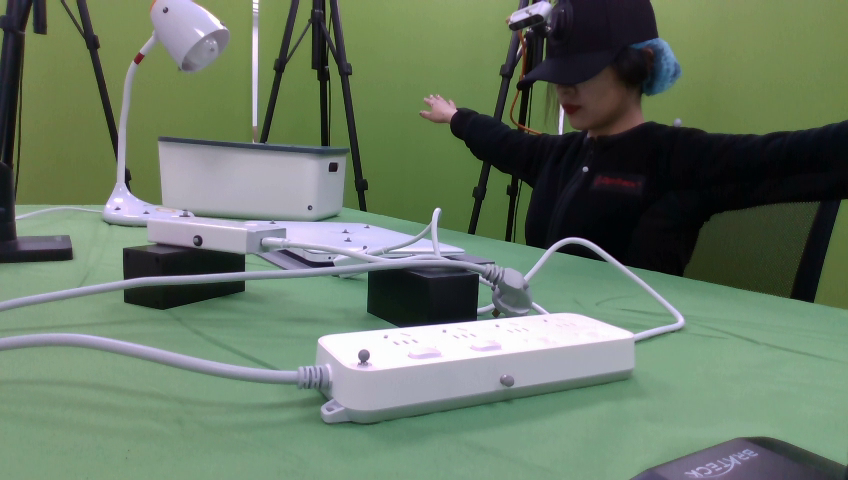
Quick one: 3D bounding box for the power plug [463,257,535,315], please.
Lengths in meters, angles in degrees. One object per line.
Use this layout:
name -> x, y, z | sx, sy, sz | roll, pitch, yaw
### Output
power plug -> 0.064, 0.039, 0.530 | 0.072, 0.052, 0.035 | 31, 43, 7

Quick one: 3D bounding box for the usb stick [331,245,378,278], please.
usb stick -> -0.085, 0.026, 0.702 | 0.059, 0.027, 0.021 | -17, 20, 27

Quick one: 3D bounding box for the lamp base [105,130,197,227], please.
lamp base -> -0.532, -0.120, 1.153 | 0.179, 0.180, 0.161 | 1, 7, 8

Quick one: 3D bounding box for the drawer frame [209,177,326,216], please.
drawer frame -> -0.351, -0.103, 1.393 | 0.213, 0.082, 0.201 | 1, 7, 3

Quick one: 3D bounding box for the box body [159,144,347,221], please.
box body -> -0.384, -0.137, 1.406 | 0.364, 0.160, 0.254 | 3, 8, 8

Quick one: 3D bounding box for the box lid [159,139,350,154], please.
box lid -> -0.373, -0.214, 1.388 | 0.371, 0.015, 0.263 | 4, 9, 7

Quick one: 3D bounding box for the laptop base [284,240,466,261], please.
laptop base -> -0.125, 0.002, 0.945 | 0.237, 0.023, 0.352 | 2, 6, -31

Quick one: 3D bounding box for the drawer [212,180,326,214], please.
drawer -> -0.349, -0.103, 1.395 | 0.212, 0.073, 0.194 | 2, 6, 4

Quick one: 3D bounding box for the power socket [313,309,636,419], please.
power socket -> 0.039, 0.072, 0.385 | 0.228, 0.032, 0.072 | -2, 7, -28

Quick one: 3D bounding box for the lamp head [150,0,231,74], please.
lamp head -> -0.432, -0.374, 1.086 | 0.123, 0.112, 0.112 | 42, 8, -2

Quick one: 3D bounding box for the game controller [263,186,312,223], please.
game controller -> -0.308, -0.089, 1.397 | 0.097, 0.051, 0.155 | 31, 6, -3

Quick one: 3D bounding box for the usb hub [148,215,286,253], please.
usb hub -> -0.197, -0.006, 0.575 | 0.125, 0.025, 0.050 | 6, 6, 22

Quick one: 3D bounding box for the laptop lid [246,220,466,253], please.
laptop lid -> -0.123, -0.009, 0.945 | 0.243, 0.013, 0.355 | 1, 7, -29
